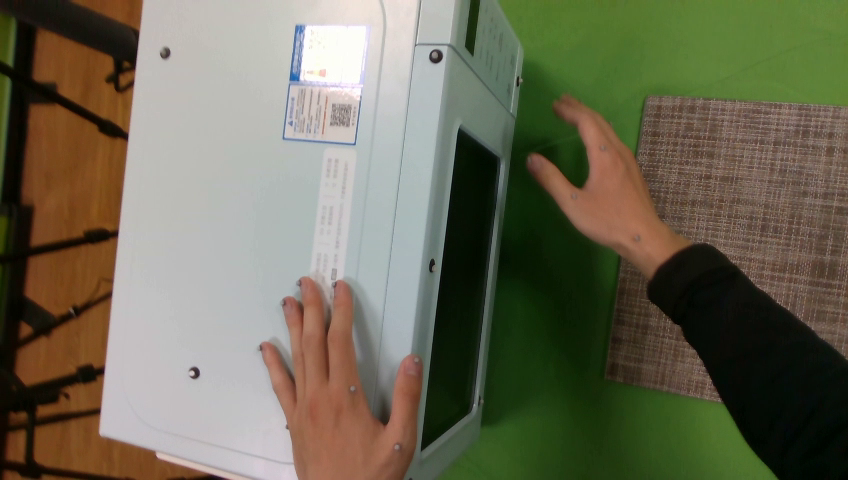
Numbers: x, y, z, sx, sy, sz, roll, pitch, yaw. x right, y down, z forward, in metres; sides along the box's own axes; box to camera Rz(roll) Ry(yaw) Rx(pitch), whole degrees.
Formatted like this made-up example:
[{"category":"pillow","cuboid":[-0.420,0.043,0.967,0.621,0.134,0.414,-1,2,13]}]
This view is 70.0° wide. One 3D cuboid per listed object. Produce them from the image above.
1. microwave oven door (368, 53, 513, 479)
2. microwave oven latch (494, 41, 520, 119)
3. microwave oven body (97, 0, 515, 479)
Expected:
[{"category":"microwave oven door","cuboid":[0.023,0.039,0.565,0.039,0.245,0.355,6,90,21]},{"category":"microwave oven latch","cuboid":[0.086,-0.174,0.657,0.030,0.029,0.079,8,91,20]},{"category":"microwave oven body","cuboid":[-0.106,-0.018,0.619,0.324,0.261,0.441,7,91,20]}]
